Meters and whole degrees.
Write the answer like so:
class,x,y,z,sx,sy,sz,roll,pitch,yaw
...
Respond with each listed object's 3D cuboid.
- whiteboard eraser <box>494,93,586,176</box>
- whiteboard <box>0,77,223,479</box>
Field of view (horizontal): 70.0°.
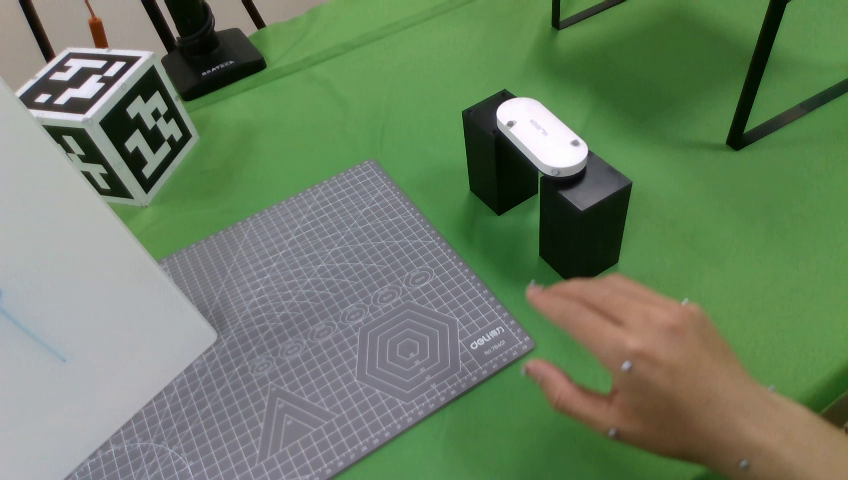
class,x,y,z,sx,sy,sz,roll,pitch,yaw
whiteboard eraser,0.094,-0.090,0.502,0.041,0.019,0.100,-25,52,-13
whiteboard,-0.350,0.029,0.457,0.142,0.308,0.217,15,52,46
